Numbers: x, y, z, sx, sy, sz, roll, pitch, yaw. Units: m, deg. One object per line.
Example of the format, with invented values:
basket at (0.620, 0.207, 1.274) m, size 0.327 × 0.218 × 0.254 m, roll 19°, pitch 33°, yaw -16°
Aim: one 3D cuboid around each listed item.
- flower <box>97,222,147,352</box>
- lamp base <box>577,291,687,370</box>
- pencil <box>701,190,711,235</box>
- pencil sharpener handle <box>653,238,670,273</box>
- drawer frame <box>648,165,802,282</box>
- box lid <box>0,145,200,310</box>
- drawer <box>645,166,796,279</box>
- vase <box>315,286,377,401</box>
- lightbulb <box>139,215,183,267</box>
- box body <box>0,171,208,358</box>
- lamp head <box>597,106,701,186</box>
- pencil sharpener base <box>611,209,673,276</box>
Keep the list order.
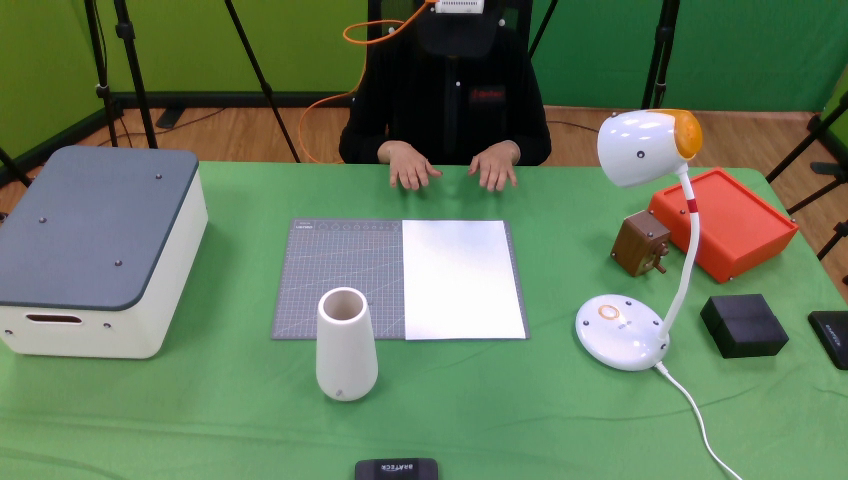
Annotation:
flower at (-0.557, 0.069, 1.089) m, size 0.044 × 0.038 × 0.359 m, roll -24°, pitch 47°, yaw -19°
lamp base at (0.361, 0.110, 1.003) m, size 0.160 × 0.181 × 0.178 m, roll -30°, pitch 57°, yaw -28°
pencil at (0.585, -0.059, 1.256) m, size 0.012 × 0.012 × 0.193 m, roll 16°, pitch 34°, yaw 11°
pencil sharpener handle at (0.444, 0.030, 1.120) m, size 0.036 × 0.068 × 0.030 m, roll -25°, pitch 52°, yaw -18°
drawer frame at (0.603, -0.040, 1.233) m, size 0.202 × 0.083 × 0.212 m, roll -21°, pitch 51°, yaw -23°
box lid at (-0.541, -0.037, 0.993) m, size 0.263 × 0.015 × 0.369 m, roll 3°, pitch 45°, yaw -2°
drawer at (0.600, -0.041, 1.236) m, size 0.195 × 0.073 × 0.210 m, roll -21°, pitch 51°, yaw -23°
vase at (-0.119, 0.159, 0.911) m, size 0.098 × 0.201 × 0.097 m, roll 2°, pitch 47°, yaw -2°
lightbulb at (-0.496, 0.003, 1.131) m, size 0.059 × 0.060 × 0.107 m, roll 18°, pitch 63°, yaw 13°
box body at (-0.546, 0.017, 1.045) m, size 0.254 × 0.161 × 0.361 m, roll 2°, pitch 46°, yaw -2°
lamp head at (0.328, -0.138, 0.865) m, size 0.112 × 0.113 × 0.122 m, roll -36°, pitch 20°, yaw -32°
pencil sharpener base at (0.416, 0.007, 1.158) m, size 0.061 × 0.107 × 0.076 m, roll -21°, pitch 51°, yaw -22°
